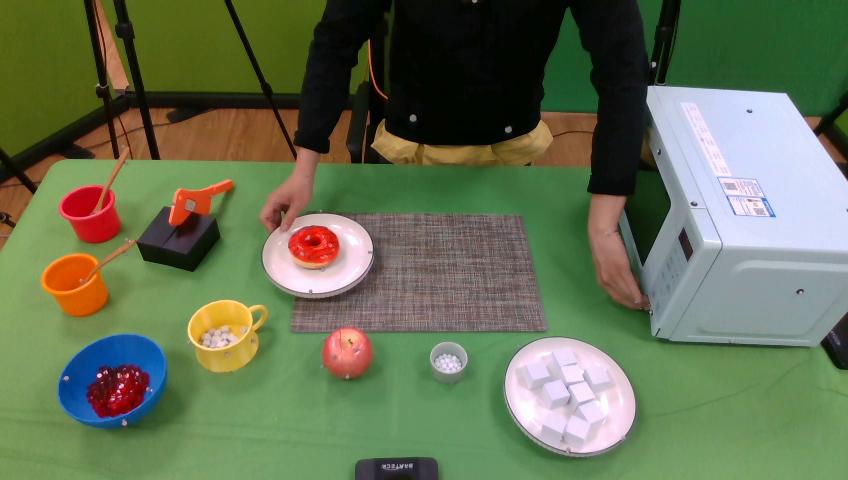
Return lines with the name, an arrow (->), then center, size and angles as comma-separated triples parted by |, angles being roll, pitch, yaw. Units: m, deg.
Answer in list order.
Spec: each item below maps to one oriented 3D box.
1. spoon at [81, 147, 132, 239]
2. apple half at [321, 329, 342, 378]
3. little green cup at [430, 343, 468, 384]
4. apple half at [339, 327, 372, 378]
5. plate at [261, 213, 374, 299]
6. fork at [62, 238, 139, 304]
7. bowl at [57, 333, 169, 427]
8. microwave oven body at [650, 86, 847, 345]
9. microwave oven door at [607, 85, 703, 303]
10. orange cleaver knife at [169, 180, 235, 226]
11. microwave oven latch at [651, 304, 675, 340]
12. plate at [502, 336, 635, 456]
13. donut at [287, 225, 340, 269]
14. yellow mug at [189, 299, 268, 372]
spoon -> -0.602, -0.089, 1.156 | 0.041, 0.022, 0.193 | 27, 94, 19
apple half -> -0.149, 0.186, 0.972 | 0.033, 0.081, 0.080 | -2, 46, -12
little green cup -> 0.039, 0.204, 0.993 | 0.061, 0.039, 0.061 | 2, 46, -2
apple half -> -0.111, 0.183, 0.980 | 0.053, 0.075, 0.080 | -2, 42, -12
plate -> -0.198, 0.032, 1.137 | 0.209, 0.038, 0.208 | 2, 46, -2
fork -> -0.546, 0.053, 1.018 | 0.207, 0.019, 0.028 | -35, 41, 23
bowl -> -0.455, 0.223, 0.912 | 0.151, 0.077, 0.150 | 3, 45, -2
microwave oven body -> 0.568, -0.053, 1.118 | 0.326, 0.261, 0.439 | 2, 45, -1
microwave oven door -> 0.423, -0.094, 1.140 | 0.039, 0.245, 0.353 | 2, 46, -1
orange cleaver knife -> -0.435, -0.076, 1.199 | 0.012, 0.077, 0.211 | 17, 17, 9
microwave oven latch -> 0.416, 0.135, 1.060 | 0.030, 0.029, 0.079 | 9, 45, 6
plate -> 0.226, 0.248, 0.963 | 0.208, 0.039, 0.206 | 2, 46, -2
donut -> -0.206, 0.013, 1.139 | 0.099, 0.048, 0.098 | 3, 45, -3
yellow mug -> -0.315, 0.148, 1.002 | 0.131, 0.064, 0.099 | -33, 56, -31
